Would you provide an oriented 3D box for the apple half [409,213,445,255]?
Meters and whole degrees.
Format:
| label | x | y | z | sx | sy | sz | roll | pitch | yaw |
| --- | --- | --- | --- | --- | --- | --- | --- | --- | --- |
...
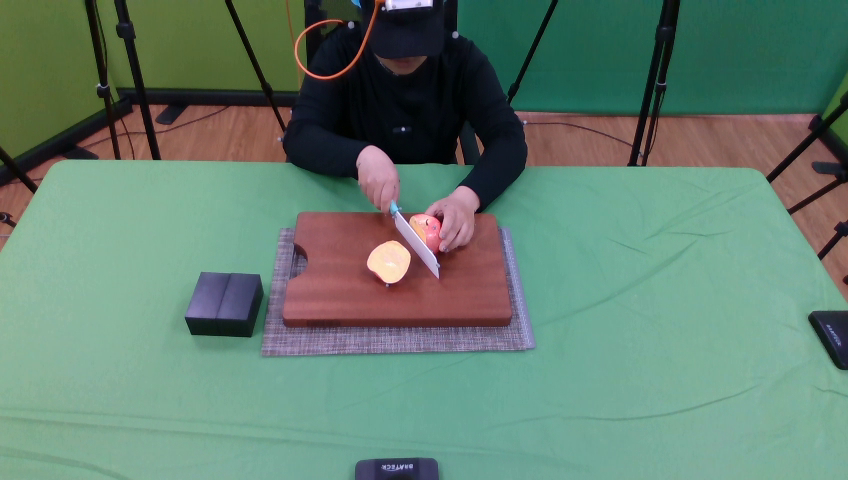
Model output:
| label | x | y | z | sx | sy | sz | roll | pitch | yaw |
| --- | --- | --- | --- | --- | --- | --- | --- | --- | --- |
| apple half | 0.010 | -0.009 | 1.134 | 0.053 | 0.075 | 0.080 | -15 | 45 | -22 |

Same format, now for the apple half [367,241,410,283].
| label | x | y | z | sx | sy | sz | roll | pitch | yaw |
| --- | --- | --- | --- | --- | --- | --- | --- | --- | --- |
| apple half | -0.059 | 0.043 | 1.100 | 0.081 | 0.033 | 0.081 | -3 | 67 | 8 |

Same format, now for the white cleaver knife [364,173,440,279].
| label | x | y | z | sx | sy | sz | roll | pitch | yaw |
| --- | --- | --- | --- | --- | --- | --- | --- | --- | --- |
| white cleaver knife | -0.047 | -0.031 | 1.157 | 0.021 | 0.066 | 0.284 | -23 | 51 | -19 |
